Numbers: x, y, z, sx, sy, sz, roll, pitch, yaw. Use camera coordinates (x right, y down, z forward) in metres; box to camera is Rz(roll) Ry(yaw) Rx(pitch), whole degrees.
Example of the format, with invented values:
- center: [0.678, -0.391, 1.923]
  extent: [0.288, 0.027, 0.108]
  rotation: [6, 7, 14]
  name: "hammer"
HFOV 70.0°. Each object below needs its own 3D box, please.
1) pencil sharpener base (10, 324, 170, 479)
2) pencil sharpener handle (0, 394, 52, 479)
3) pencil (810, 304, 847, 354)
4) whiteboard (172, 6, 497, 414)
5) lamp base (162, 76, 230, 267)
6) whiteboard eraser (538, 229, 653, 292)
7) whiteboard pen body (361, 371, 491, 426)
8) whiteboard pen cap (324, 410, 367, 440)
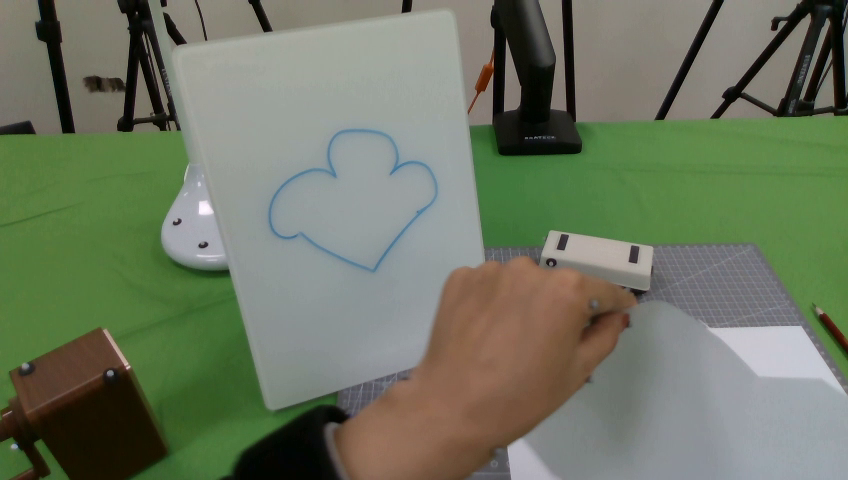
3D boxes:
- center: [-0.254, 0.132, 0.464]
  extent: [0.077, 0.108, 0.061]
  rotation: [-29, 45, -30]
  name: "pencil sharpener base"
- center: [-0.291, 0.144, 0.428]
  extent: [0.030, 0.068, 0.035]
  rotation: [-29, 32, -30]
  name: "pencil sharpener handle"
- center: [0.395, 0.120, 0.535]
  extent: [0.012, 0.012, 0.192]
  rotation: [-3, 35, -1]
  name: "pencil"
- center: [-0.074, -0.036, 0.563]
  extent: [0.218, 0.307, 0.142]
  rotation: [-14, 19, -14]
  name: "whiteboard"
- center: [-0.243, -0.086, 0.691]
  extent: [0.177, 0.182, 0.160]
  rotation: [26, 45, 35]
  name: "lamp base"
- center: [0.181, 0.022, 0.641]
  extent: [0.112, 0.042, 0.055]
  rotation: [11, 40, 16]
  name: "whiteboard eraser"
- center: [-0.009, 0.137, 0.511]
  extent: [0.141, 0.017, 0.017]
  rotation: [-14, 39, -14]
  name: "whiteboard pen body"
- center: [-0.064, 0.151, 0.497]
  extent: [0.033, 0.018, 0.018]
  rotation: [-15, 39, -14]
  name: "whiteboard pen cap"
